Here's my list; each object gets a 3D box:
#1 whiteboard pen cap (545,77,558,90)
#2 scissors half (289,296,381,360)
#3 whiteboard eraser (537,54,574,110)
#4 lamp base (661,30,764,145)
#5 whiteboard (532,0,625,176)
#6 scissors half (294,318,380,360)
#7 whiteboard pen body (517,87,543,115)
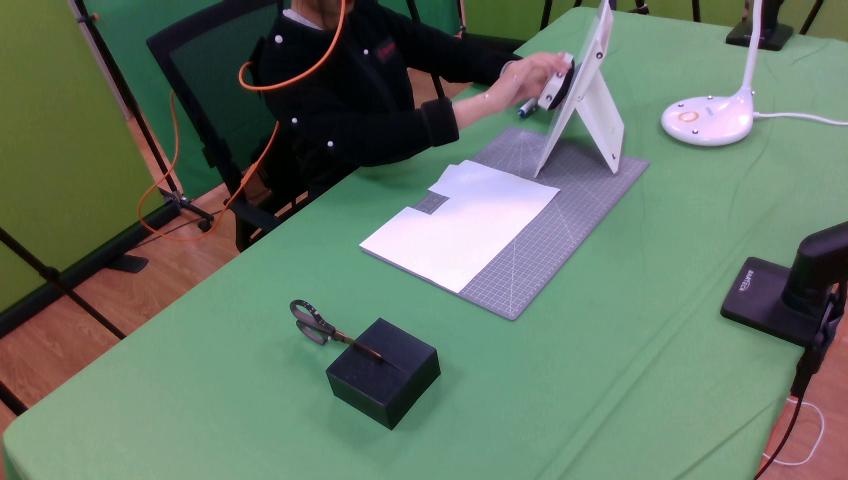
[{"bbox_3d":[0.279,-0.341,1.321,0.018,0.018,0.033,22,52,31],"label":"whiteboard pen cap"},{"bbox_3d":[-0.120,0.117,0.798,0.174,0.040,0.013,27,43,31],"label":"scissors half"},{"bbox_3d":[0.239,-0.281,1.082,0.042,0.055,0.112,26,48,0],"label":"whiteboard eraser"},{"bbox_3d":[0.535,-0.287,1.096,0.179,0.181,0.159,-10,40,-4],"label":"lamp base"},{"bbox_3d":[0.320,-0.258,1.050,0.144,0.306,0.217,21,45,5],"label":"whiteboard"},{"bbox_3d":[-0.118,0.135,0.809,0.173,0.040,0.013,9,38,44],"label":"scissors half"},{"bbox_3d":[0.241,-0.306,1.290,0.017,0.017,0.141,23,51,32],"label":"whiteboard pen body"}]
